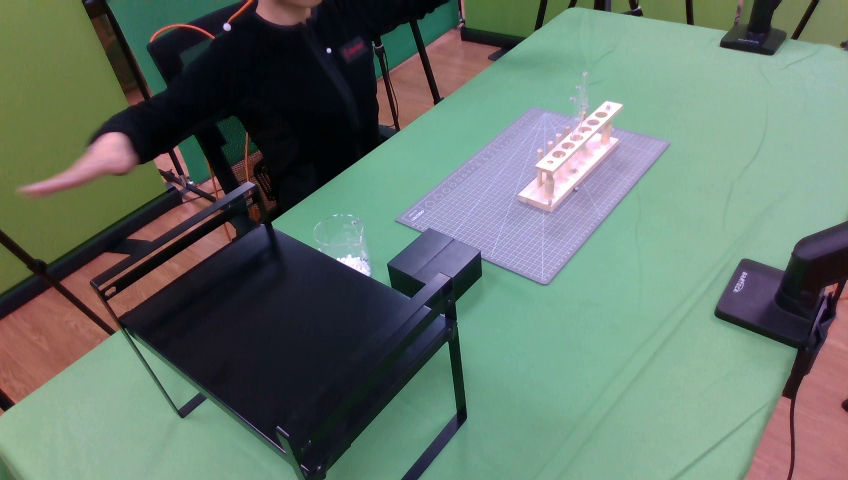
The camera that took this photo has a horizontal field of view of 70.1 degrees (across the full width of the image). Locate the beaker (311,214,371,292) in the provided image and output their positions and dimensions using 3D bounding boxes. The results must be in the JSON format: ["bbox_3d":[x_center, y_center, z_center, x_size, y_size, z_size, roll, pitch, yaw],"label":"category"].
[{"bbox_3d":[-0.118,0.022,0.908,0.083,0.101,0.074,26,51,32],"label":"beaker"}]

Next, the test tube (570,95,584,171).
[{"bbox_3d":[0.256,-0.175,1.013,0.017,0.151,0.017,-5,47,6],"label":"test tube"}]

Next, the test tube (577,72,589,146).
[{"bbox_3d":[0.284,-0.233,1.083,0.017,0.151,0.017,-5,44,6],"label":"test tube"}]

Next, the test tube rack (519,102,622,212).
[{"bbox_3d":[0.260,-0.155,1.065,0.066,0.085,0.243,24,50,32],"label":"test tube rack"}]
